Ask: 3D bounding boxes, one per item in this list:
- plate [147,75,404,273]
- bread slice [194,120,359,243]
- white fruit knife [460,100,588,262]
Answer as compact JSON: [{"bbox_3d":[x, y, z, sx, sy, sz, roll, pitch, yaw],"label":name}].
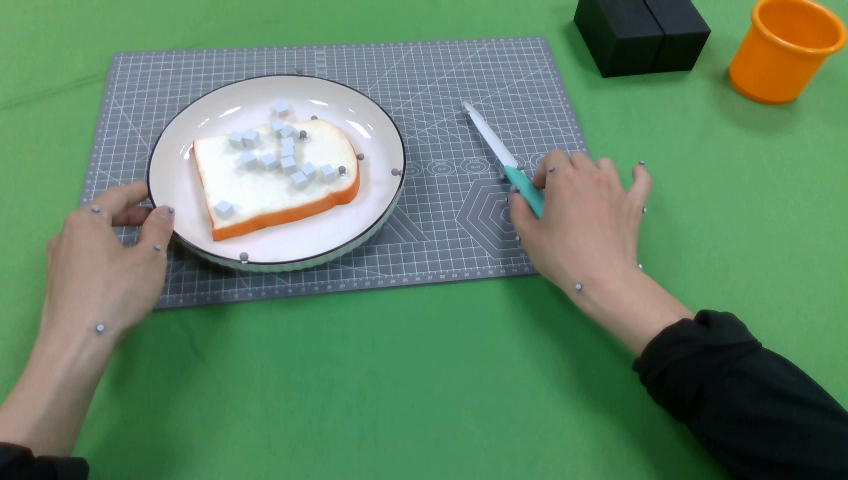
[{"bbox_3d":[-0.121,-0.057,0.513,0.209,0.038,0.207,2,56,-3],"label":"plate"},{"bbox_3d":[-0.123,-0.060,0.517,0.132,0.019,0.104,-18,59,-15],"label":"bread slice"},{"bbox_3d":[0.081,-0.060,0.545,0.027,0.016,0.205,1,47,-41],"label":"white fruit knife"}]
